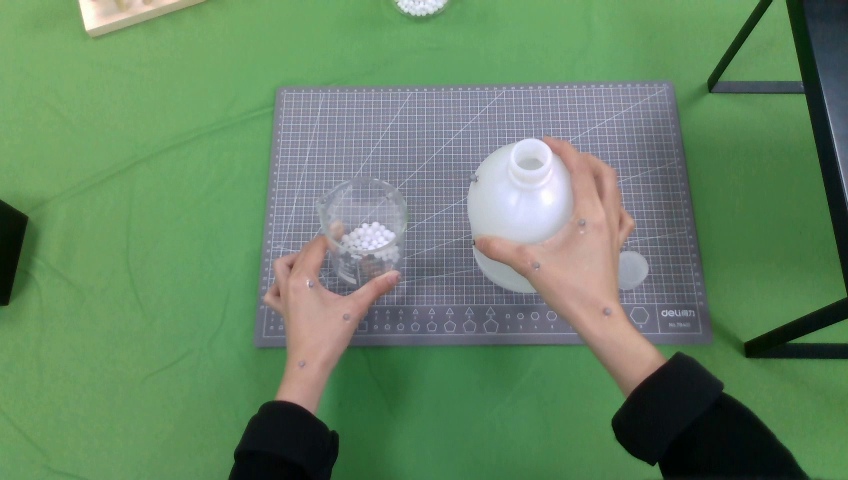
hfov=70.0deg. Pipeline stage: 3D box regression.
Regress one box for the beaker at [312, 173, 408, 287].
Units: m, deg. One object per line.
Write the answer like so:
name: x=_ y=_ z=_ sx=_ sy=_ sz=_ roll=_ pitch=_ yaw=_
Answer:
beaker: x=-0.058 y=-0.005 z=0.555 sx=0.084 sy=0.101 sz=0.073 roll=16 pitch=65 yaw=4

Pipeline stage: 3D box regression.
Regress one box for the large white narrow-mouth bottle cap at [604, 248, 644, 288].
large white narrow-mouth bottle cap: x=0.200 y=0.029 z=0.605 sx=0.038 sy=0.024 sz=0.037 roll=-1 pitch=72 yaw=3

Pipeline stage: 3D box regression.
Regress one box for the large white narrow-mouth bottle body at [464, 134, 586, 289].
large white narrow-mouth bottle body: x=0.085 y=-0.029 z=0.515 sx=0.101 sy=0.196 sz=0.101 roll=-3 pitch=69 yaw=8

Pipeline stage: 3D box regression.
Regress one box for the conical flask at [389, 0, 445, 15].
conical flask: x=-0.010 y=-0.321 z=0.680 sx=0.075 sy=0.122 sz=0.075 roll=-1 pitch=70 yaw=2

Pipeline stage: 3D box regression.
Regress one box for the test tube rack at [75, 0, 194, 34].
test tube rack: x=-0.305 y=-0.332 z=0.710 sx=0.242 sy=0.086 sz=0.066 roll=-21 pitch=71 yaw=-6
